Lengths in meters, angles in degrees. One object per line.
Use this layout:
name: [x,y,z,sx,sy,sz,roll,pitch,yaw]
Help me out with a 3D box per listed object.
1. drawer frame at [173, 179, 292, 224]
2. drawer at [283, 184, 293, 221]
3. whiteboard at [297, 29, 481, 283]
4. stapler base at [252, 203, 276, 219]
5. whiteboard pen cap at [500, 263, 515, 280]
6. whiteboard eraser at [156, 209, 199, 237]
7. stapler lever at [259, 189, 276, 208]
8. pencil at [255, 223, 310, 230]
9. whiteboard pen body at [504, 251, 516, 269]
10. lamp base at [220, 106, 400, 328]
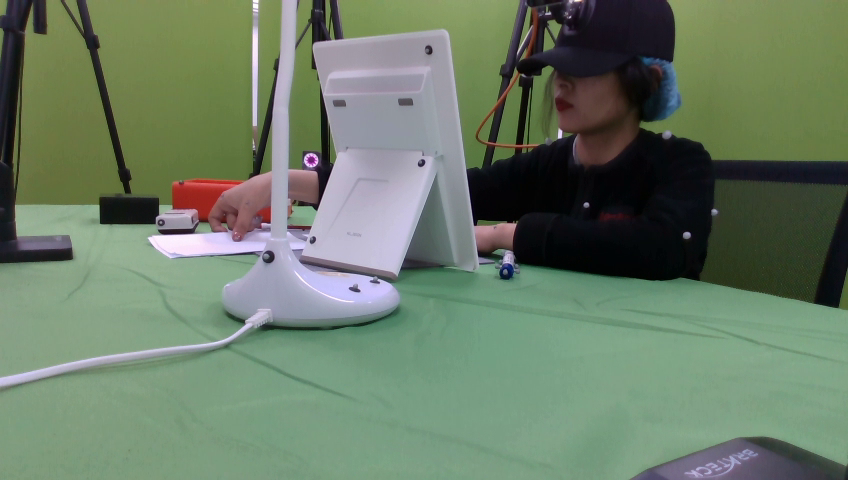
drawer frame: [-0.400,-0.086,1.300,0.214,0.082,0.201,1,8,-8]
drawer: [-0.396,-0.085,1.301,0.212,0.073,0.194,1,8,-7]
whiteboard: [-0.076,-0.082,0.741,0.216,0.305,0.144,9,29,37]
stapler base: [-0.341,-0.065,1.301,0.041,0.024,0.130,15,4,-10]
whiteboard pen cap: [0.105,0.038,0.758,0.018,0.018,0.033,4,10,9]
whiteboard eraser: [-0.411,-0.029,1.016,0.056,0.042,0.112,2,7,-16]
stapler lever: [-0.335,-0.090,1.300,0.027,0.040,0.118,15,4,-10]
pencil: [-0.216,-0.023,1.134,0.195,0.012,0.012,1,7,-22]
whiteboard pen body: [0.115,0.031,0.815,0.017,0.017,0.141,4,7,9]
lamp base: [-0.101,-0.023,0.531,0.160,0.180,0.179,4,10,10]
